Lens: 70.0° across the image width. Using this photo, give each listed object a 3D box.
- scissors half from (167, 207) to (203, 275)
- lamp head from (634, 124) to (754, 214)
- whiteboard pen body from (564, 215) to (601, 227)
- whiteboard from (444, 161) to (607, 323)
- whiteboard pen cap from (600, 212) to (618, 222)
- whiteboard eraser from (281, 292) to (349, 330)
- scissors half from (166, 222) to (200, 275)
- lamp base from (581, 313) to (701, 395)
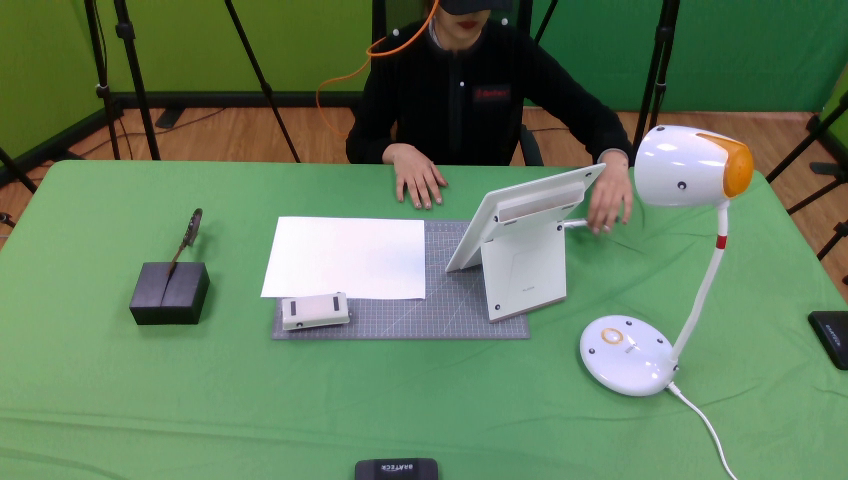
[{"bbox_3d":[-0.436,0.000,1.104,0.013,0.040,0.174,21,44,-14],"label":"scissors half"},{"bbox_3d":[0.351,-0.089,0.775,0.112,0.113,0.122,-30,30,-28],"label":"lamp head"},{"bbox_3d":[0.311,-0.038,1.223,0.140,0.017,0.017,-8,43,20],"label":"whiteboard pen body"},{"bbox_3d":[0.186,0.025,1.029,0.217,0.306,0.143,-14,68,-18],"label":"whiteboard"},{"bbox_3d":[0.366,-0.045,1.202,0.033,0.018,0.018,-9,43,19],"label":"whiteboard pen cap"},{"bbox_3d":[-0.189,0.124,1.045,0.113,0.042,0.055,-6,46,-10],"label":"whiteboard eraser"},{"bbox_3d":[-0.444,0.015,1.116,0.013,0.040,0.174,16,27,-11],"label":"scissors half"},{"bbox_3d":[0.361,0.144,0.973,0.178,0.181,0.160,34,53,23],"label":"lamp base"}]
